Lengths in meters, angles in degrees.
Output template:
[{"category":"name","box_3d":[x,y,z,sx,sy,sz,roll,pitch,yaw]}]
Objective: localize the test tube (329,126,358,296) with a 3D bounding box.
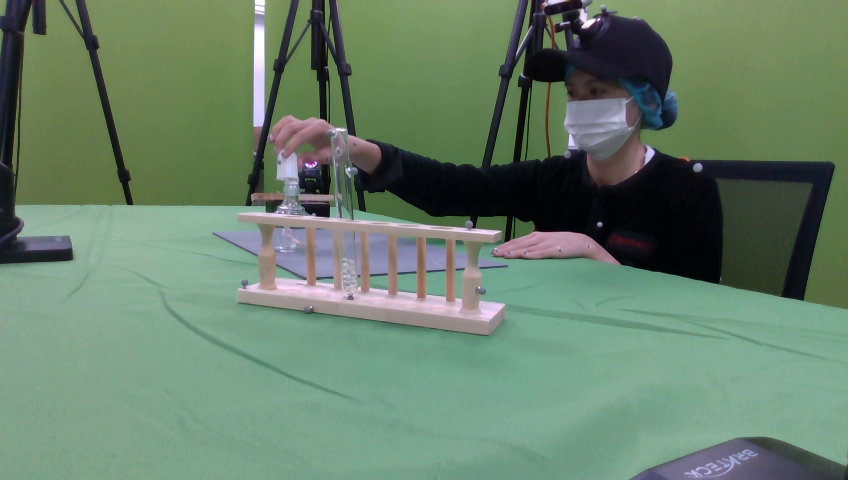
[{"category":"test tube","box_3d":[-0.071,-0.024,0.535,0.017,0.150,0.017,-3,8,1]}]

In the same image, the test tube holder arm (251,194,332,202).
[{"category":"test tube holder arm","box_3d":[-0.267,-0.085,1.236,0.179,0.015,0.013,-3,4,-42]}]

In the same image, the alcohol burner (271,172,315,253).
[{"category":"alcohol burner","box_3d":[-0.196,-0.041,0.884,0.078,0.119,0.078,3,5,0]}]

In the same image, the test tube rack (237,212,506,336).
[{"category":"test tube rack","box_3d":[-0.049,0.024,0.552,0.242,0.085,0.067,5,8,18]}]

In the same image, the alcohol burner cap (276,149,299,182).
[{"category":"alcohol burner cap","box_3d":[-0.201,-0.109,0.880,0.034,0.048,0.034,-4,-4,0]}]

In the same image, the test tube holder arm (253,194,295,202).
[{"category":"test tube holder arm","box_3d":[-0.297,-0.084,1.202,0.088,0.015,0.010,-2,4,-41]}]
